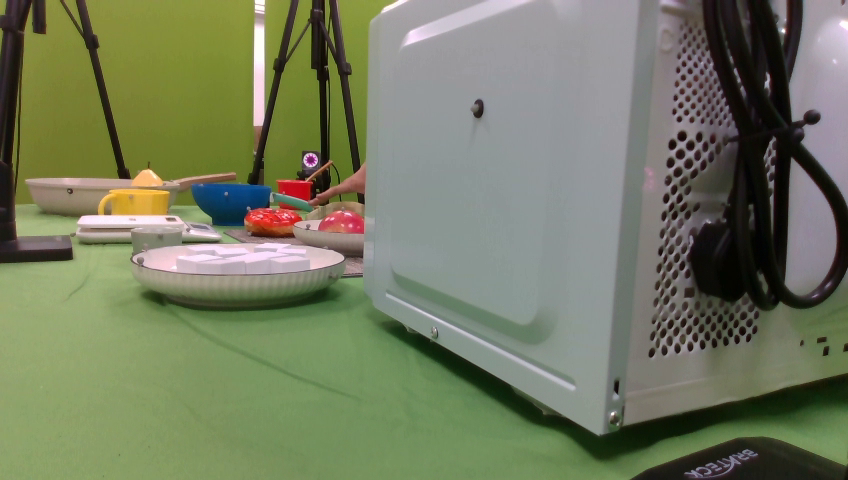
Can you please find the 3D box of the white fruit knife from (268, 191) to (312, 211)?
[{"bbox_3d":[-0.364,-0.105,1.464,0.208,0.027,0.016,15,0,-34],"label":"white fruit knife"}]

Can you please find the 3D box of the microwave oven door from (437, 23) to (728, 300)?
[{"bbox_3d":[0.180,-0.072,0.621,0.358,0.243,0.039,-2,8,-29],"label":"microwave oven door"}]

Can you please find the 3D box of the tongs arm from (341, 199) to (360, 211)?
[{"bbox_3d":[-0.149,-0.070,1.429,0.051,0.026,0.383,-4,9,-14],"label":"tongs arm"}]

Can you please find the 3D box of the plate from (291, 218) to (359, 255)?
[{"bbox_3d":[-0.098,-0.007,0.928,0.209,0.038,0.209,2,8,0],"label":"plate"}]

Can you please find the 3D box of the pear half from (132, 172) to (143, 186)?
[{"bbox_3d":[-0.638,-0.113,1.361,0.031,0.088,0.070,5,10,4],"label":"pear half"}]

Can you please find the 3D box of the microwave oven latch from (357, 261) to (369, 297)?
[{"bbox_3d":[-0.019,0.033,0.530,0.079,0.029,0.030,-1,7,-26],"label":"microwave oven latch"}]

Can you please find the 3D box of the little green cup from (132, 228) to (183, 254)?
[{"bbox_3d":[-0.342,0.006,0.779,0.061,0.038,0.061,2,8,0],"label":"little green cup"}]

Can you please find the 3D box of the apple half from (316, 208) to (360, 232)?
[{"bbox_3d":[-0.122,-0.020,0.901,0.080,0.053,0.075,4,11,20],"label":"apple half"}]

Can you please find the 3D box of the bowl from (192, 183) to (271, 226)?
[{"bbox_3d":[-0.382,-0.071,1.202,0.151,0.077,0.151,3,7,0],"label":"bowl"}]

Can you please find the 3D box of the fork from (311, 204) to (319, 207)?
[{"bbox_3d":[-0.356,-0.105,1.526,0.208,0.018,0.028,16,-6,-41],"label":"fork"}]

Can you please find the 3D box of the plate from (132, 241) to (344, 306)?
[{"bbox_3d":[-0.187,0.033,0.625,0.208,0.039,0.207,2,8,0],"label":"plate"}]

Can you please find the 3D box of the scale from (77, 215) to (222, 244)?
[{"bbox_3d":[-0.434,-0.019,0.963,0.202,0.031,0.148,-1,9,-27],"label":"scale"}]

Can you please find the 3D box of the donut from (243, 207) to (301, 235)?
[{"bbox_3d":[-0.261,-0.032,1.043,0.099,0.048,0.099,4,9,0],"label":"donut"}]

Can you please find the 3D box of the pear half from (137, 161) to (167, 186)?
[{"bbox_3d":[-0.602,-0.120,1.354,0.056,0.110,0.076,4,11,6],"label":"pear half"}]

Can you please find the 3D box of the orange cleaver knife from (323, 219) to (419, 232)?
[{"bbox_3d":[-0.097,-0.027,1.152,0.077,0.012,0.212,1,6,41],"label":"orange cleaver knife"}]

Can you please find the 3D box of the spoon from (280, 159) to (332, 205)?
[{"bbox_3d":[-0.316,-0.159,1.640,0.194,0.022,0.041,-50,32,-20],"label":"spoon"}]

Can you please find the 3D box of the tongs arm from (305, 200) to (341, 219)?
[{"bbox_3d":[-0.235,-0.068,1.414,0.028,0.028,0.387,-5,8,1],"label":"tongs arm"}]

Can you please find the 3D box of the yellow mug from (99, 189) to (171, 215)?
[{"bbox_3d":[-0.518,-0.055,1.080,0.099,0.064,0.131,7,9,26],"label":"yellow mug"}]

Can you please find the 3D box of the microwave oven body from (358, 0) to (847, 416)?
[{"bbox_3d":[0.211,-0.047,0.474,0.444,0.260,0.324,-1,7,-28],"label":"microwave oven body"}]

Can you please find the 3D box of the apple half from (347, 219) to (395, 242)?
[{"bbox_3d":[-0.084,-0.018,0.967,0.081,0.033,0.081,5,9,-1],"label":"apple half"}]

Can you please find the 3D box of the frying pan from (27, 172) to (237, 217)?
[{"bbox_3d":[-0.624,-0.118,1.387,0.305,0.102,0.490,8,17,32],"label":"frying pan"}]
